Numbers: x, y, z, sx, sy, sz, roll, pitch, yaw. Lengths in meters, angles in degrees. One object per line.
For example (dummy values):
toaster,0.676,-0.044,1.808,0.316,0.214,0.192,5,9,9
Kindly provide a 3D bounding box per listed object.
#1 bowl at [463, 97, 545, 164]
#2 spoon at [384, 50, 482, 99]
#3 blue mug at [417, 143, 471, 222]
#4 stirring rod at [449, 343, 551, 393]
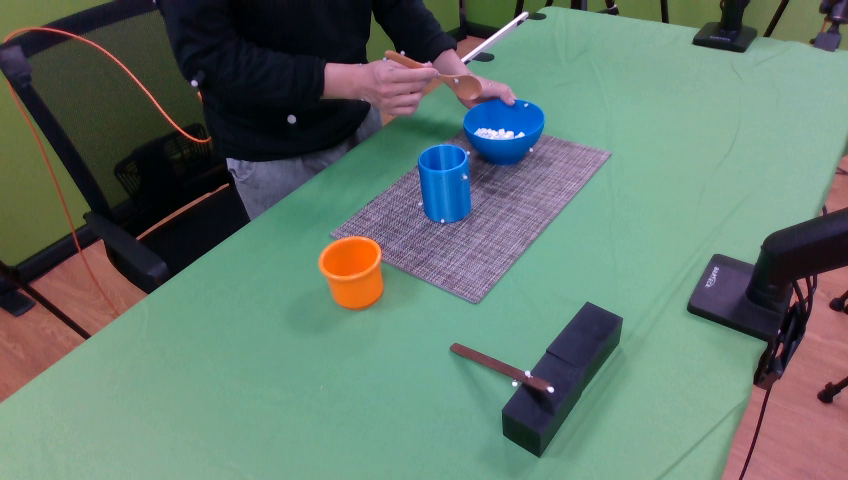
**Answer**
bowl,0.149,-0.195,1.123,0.151,0.077,0.150,-4,41,4
spoon,0.018,-0.267,0.965,0.195,0.041,0.021,9,38,-41
blue mug,0.031,-0.104,1.014,0.082,0.106,0.115,-14,41,-7
stirring rod,0.088,0.154,0.741,0.014,0.006,0.174,-39,28,-25
